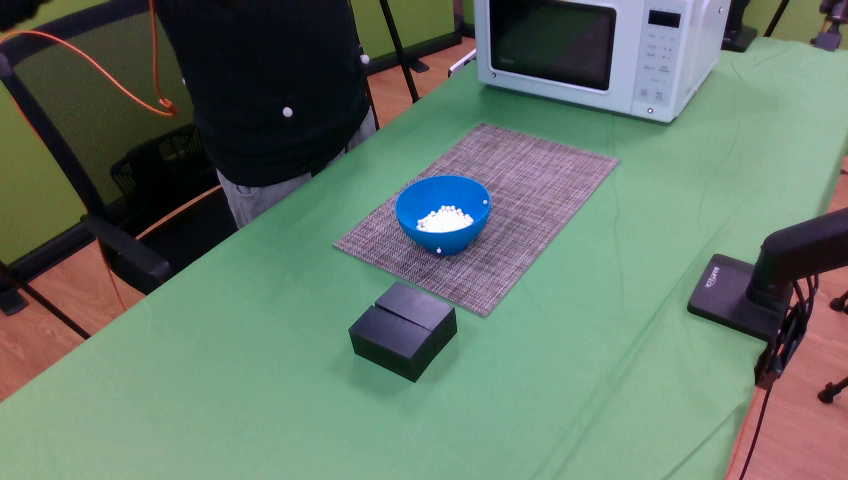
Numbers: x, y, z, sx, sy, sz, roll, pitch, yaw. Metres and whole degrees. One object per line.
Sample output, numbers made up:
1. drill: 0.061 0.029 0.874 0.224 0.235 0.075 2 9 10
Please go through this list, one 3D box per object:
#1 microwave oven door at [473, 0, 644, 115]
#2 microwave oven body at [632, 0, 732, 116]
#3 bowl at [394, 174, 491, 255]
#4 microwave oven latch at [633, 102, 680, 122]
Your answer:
1. microwave oven door: 0.257 -0.396 1.199 0.353 0.245 0.039 21 48 29
2. microwave oven body: 0.377 -0.462 1.267 0.438 0.261 0.327 21 48 30
3. bowl: 0.032 -0.030 0.949 0.151 0.077 0.150 -4 40 4
4. microwave oven latch: 0.444 -0.250 1.157 0.078 0.029 0.030 22 49 31
